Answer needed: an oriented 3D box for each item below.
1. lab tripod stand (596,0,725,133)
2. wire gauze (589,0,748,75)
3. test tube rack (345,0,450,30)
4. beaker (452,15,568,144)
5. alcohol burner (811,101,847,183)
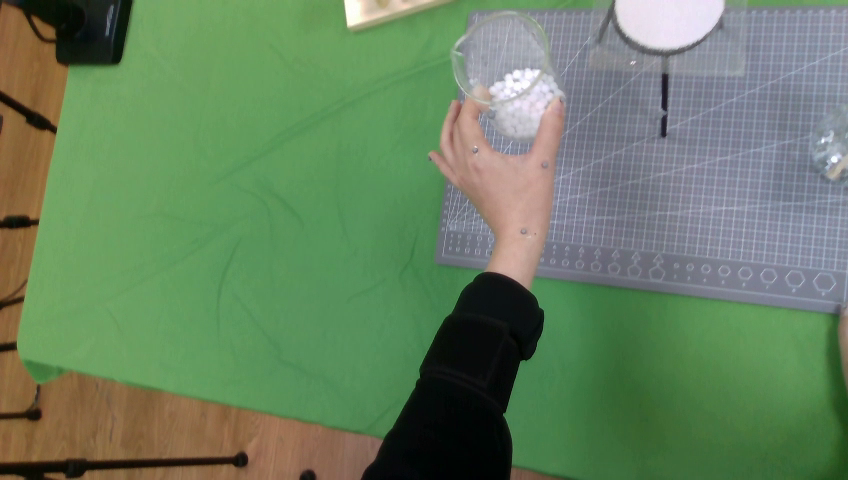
[{"bbox_3d":[0.226,-0.190,0.570,0.148,0.132,0.148,-2,83,16],"label":"lab tripod stand"},{"bbox_3d":[0.206,-0.199,0.506,0.124,0.011,0.121,6,87,19],"label":"wire gauze"},{"bbox_3d":[0.007,-0.321,0.687,0.242,0.086,0.066,-11,79,16],"label":"test tube rack"},{"bbox_3d":[0.075,-0.127,0.502,0.083,0.101,0.074,21,88,25],"label":"beaker"},{"bbox_3d":[0.380,-0.088,0.516,0.077,0.120,0.077,-2,82,17],"label":"alcohol burner"}]
